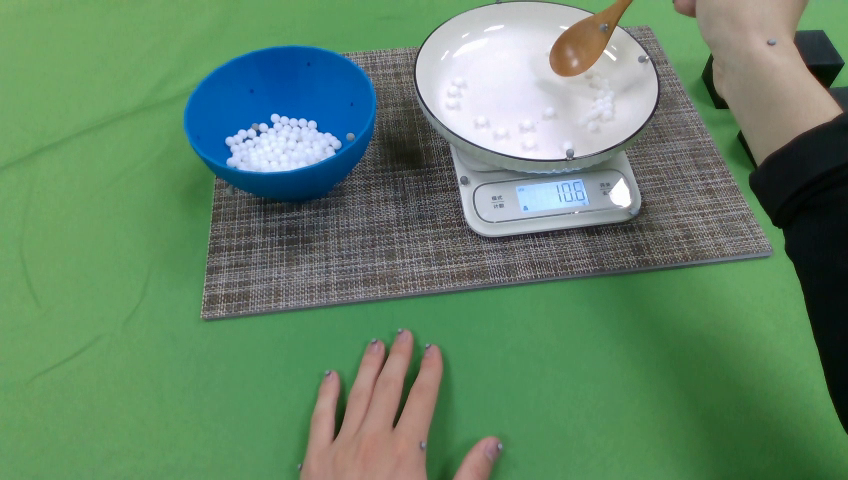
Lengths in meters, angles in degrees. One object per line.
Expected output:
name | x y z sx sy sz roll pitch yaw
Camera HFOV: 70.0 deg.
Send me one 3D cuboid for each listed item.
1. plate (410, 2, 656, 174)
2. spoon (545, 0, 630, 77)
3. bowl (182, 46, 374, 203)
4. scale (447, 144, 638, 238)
plate | 0.092 -0.132 0.528 0.209 0.038 0.207 0 55 0
spoon | 0.165 -0.194 0.467 0.022 0.194 0.041 -14 73 -38
bowl | -0.114 -0.084 0.508 0.151 0.077 0.150 0 54 1
scale | 0.094 -0.094 0.541 0.149 0.032 0.199 -7 55 -4
